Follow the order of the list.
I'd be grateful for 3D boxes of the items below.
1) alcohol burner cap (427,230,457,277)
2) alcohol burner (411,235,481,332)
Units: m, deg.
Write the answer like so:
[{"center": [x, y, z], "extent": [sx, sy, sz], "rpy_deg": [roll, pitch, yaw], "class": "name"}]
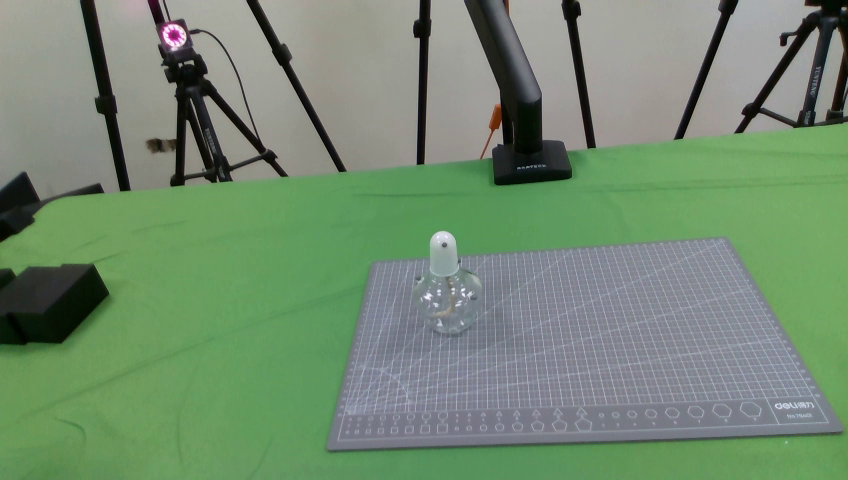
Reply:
[{"center": [0.019, 0.012, 0.638], "extent": [0.034, 0.048, 0.033], "rpy_deg": [-1, 35, 1], "class": "alcohol burner cap"}, {"center": [0.022, 0.042, 0.658], "extent": [0.078, 0.120, 0.077], "rpy_deg": [-4, 35, 3], "class": "alcohol burner"}]
